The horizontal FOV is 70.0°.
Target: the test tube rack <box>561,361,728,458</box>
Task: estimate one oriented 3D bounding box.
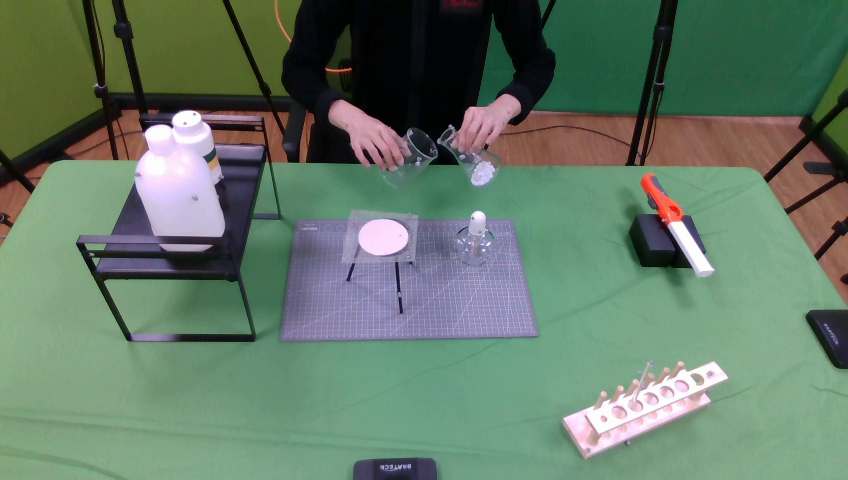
[{"bbox_3d":[0.341,0.248,0.940,0.243,0.085,0.066,-15,48,-18],"label":"test tube rack"}]

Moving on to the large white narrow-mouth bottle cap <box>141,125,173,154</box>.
[{"bbox_3d":[-0.356,-0.134,0.811,0.038,0.024,0.037,1,47,-1],"label":"large white narrow-mouth bottle cap"}]

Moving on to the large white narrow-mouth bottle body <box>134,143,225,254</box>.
[{"bbox_3d":[-0.358,-0.075,0.875,0.102,0.195,0.101,1,47,-1],"label":"large white narrow-mouth bottle body"}]

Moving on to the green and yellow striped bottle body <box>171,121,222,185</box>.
[{"bbox_3d":[-0.375,-0.149,0.995,0.063,0.120,0.063,2,46,-2],"label":"green and yellow striped bottle body"}]

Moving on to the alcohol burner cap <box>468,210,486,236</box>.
[{"bbox_3d":[0.099,-0.034,1.119,0.034,0.048,0.033,0,53,0],"label":"alcohol burner cap"}]

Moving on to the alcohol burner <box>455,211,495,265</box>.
[{"bbox_3d":[0.097,-0.010,1.147,0.078,0.120,0.077,1,47,-1],"label":"alcohol burner"}]

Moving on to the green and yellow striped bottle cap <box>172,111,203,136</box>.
[{"bbox_3d":[-0.374,-0.185,0.958,0.045,0.020,0.045,4,46,-4],"label":"green and yellow striped bottle cap"}]

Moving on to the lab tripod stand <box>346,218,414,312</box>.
[{"bbox_3d":[-0.070,0.037,1.075,0.148,0.132,0.147,1,47,-1],"label":"lab tripod stand"}]

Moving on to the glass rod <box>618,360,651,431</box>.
[{"bbox_3d":[0.298,0.227,0.865,0.008,0.201,0.008,-2,47,2],"label":"glass rod"}]

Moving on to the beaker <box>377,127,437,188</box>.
[{"bbox_3d":[-0.033,-0.153,1.149,0.084,0.100,0.073,8,51,-46],"label":"beaker"}]

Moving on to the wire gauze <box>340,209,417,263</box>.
[{"bbox_3d":[-0.074,-0.007,1.023,0.121,0.011,0.124,3,46,0],"label":"wire gauze"}]

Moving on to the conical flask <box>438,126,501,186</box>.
[{"bbox_3d":[0.080,-0.161,1.135,0.122,0.075,0.075,37,37,-29],"label":"conical flask"}]

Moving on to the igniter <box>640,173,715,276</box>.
[{"bbox_3d":[0.495,-0.039,1.204,0.057,0.025,0.274,-2,47,-13],"label":"igniter"}]
